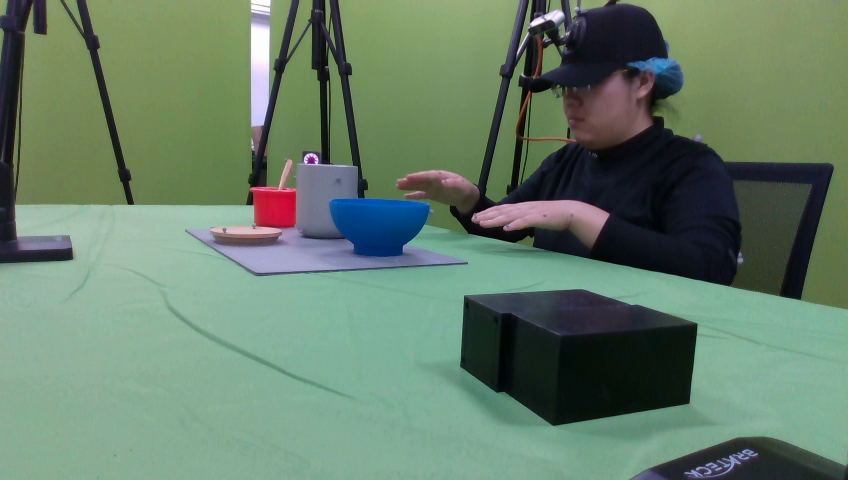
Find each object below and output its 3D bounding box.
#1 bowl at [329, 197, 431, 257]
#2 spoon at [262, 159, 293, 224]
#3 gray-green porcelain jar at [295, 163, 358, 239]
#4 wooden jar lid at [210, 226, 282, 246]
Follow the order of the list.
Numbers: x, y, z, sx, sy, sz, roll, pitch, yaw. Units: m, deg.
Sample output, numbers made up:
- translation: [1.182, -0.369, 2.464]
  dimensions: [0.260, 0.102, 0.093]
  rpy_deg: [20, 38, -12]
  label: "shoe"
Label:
- translation: [-0.067, -0.019, 0.895]
  dimensions: [0.151, 0.077, 0.151]
  rpy_deg: [3, 7, 0]
  label: "bowl"
- translation: [-0.290, -0.102, 1.227]
  dimensions: [0.041, 0.021, 0.193]
  rpy_deg: [3, 51, 3]
  label: "spoon"
- translation: [-0.170, -0.069, 1.054]
  dimensions: [0.106, 0.126, 0.106]
  rpy_deg: [3, 7, 0]
  label: "gray-green porcelain jar"
- translation: [-0.279, -0.007, 0.951]
  dimensions: [0.108, 0.020, 0.108]
  rpy_deg: [2, 8, 0]
  label: "wooden jar lid"
